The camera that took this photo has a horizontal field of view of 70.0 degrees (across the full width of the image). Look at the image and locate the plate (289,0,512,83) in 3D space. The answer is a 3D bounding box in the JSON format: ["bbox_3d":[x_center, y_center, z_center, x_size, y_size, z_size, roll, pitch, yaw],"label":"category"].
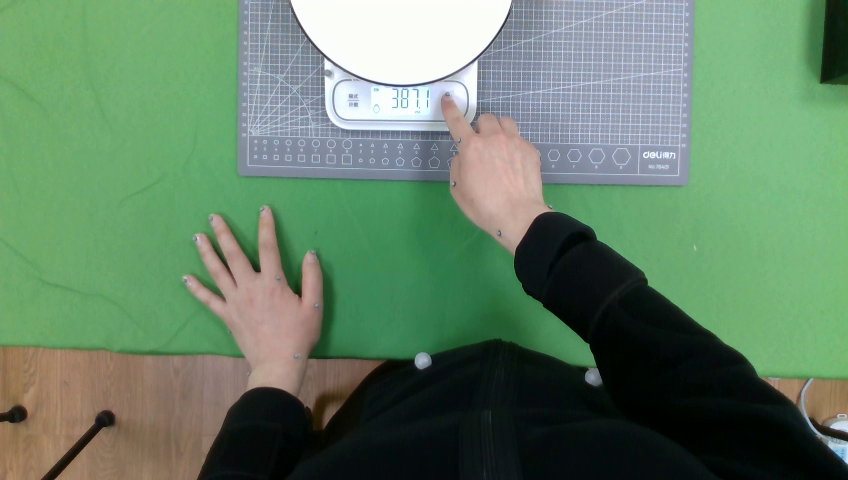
[{"bbox_3d":[-0.021,-0.244,0.551,0.209,0.038,0.209,0,92,-2],"label":"plate"}]

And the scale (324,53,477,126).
[{"bbox_3d":[-0.023,-0.214,0.586,0.149,0.031,0.201,1,93,0],"label":"scale"}]
